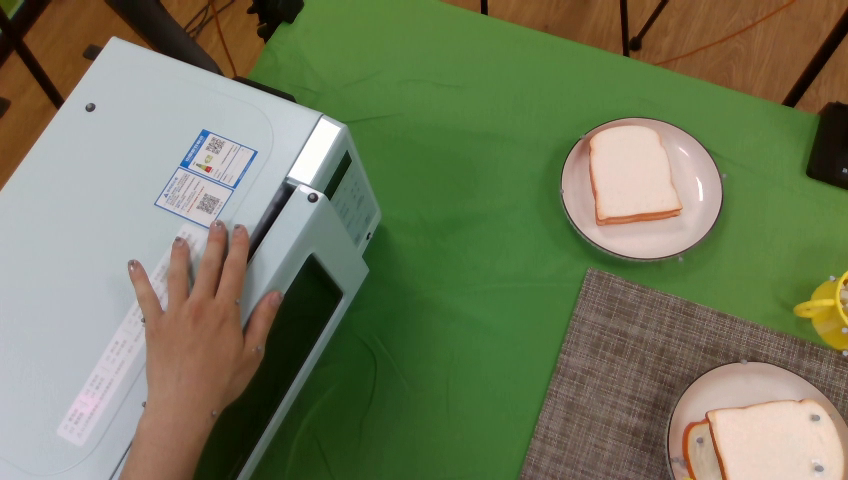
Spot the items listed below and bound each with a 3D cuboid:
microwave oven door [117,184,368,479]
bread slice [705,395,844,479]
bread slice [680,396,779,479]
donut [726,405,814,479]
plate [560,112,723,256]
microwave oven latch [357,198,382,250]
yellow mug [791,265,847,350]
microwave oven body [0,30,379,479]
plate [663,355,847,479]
[{"bbox_3d":[-0.180,0.136,0.651,0.039,0.245,0.354,25,74,14],"label":"microwave oven door"},{"bbox_3d":[0.368,0.215,0.634,0.134,0.018,0.106,-12,76,-6],"label":"bread slice"},{"bbox_3d":[0.363,0.242,0.690,0.131,0.019,0.104,-11,69,0],"label":"bread slice"},{"bbox_3d":[0.378,0.231,0.661,0.099,0.048,0.098,3,76,-11],"label":"donut"},{"bbox_3d":[0.286,-0.073,0.812,0.207,0.039,0.206,-2,70,5],"label":"plate"},{"bbox_3d":[-0.084,-0.022,0.806,0.030,0.030,0.079,25,75,13],"label":"microwave oven latch"},{"bbox_3d":[0.510,0.078,0.723,0.131,0.064,0.099,0,70,7],"label":"yellow mug"},{"bbox_3d":[-0.301,0.045,0.699,0.325,0.262,0.440,22,74,12],"label":"microwave oven body"},{"bbox_3d":[0.376,0.238,0.689,0.209,0.038,0.207,-2,70,5],"label":"plate"}]
